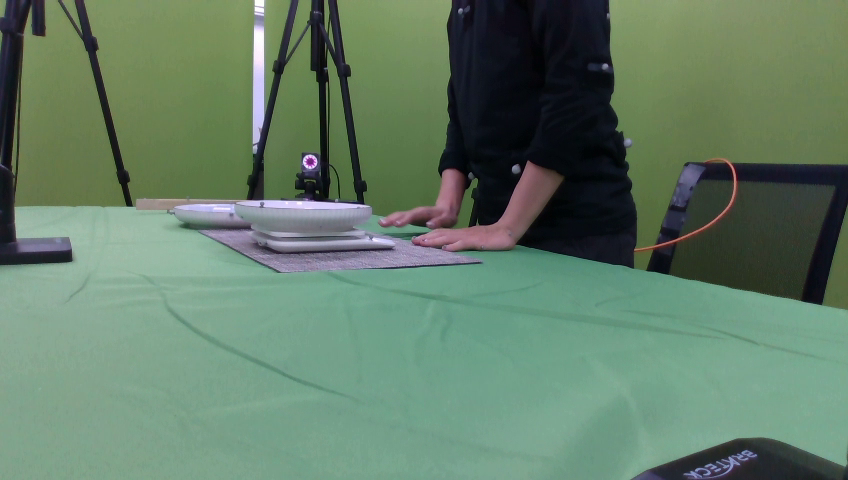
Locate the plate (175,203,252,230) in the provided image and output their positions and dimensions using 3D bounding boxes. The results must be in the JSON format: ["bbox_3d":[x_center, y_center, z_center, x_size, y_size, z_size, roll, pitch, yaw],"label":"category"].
[{"bbox_3d":[-0.381,-0.047,1.199,0.208,0.039,0.207,3,7,0],"label":"plate"}]

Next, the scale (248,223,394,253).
[{"bbox_3d":[-0.162,-0.006,0.954,0.202,0.031,0.148,-2,8,-32],"label":"scale"}]

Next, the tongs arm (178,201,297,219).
[{"bbox_3d":[-0.418,-0.072,1.419,0.028,0.028,0.389,4,7,28],"label":"tongs arm"}]

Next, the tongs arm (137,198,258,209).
[{"bbox_3d":[-0.489,-0.086,1.472,0.050,0.026,0.387,10,9,42],"label":"tongs arm"}]

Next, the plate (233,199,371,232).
[{"bbox_3d":[-0.188,-0.039,0.939,0.209,0.038,0.209,3,7,0],"label":"plate"}]
